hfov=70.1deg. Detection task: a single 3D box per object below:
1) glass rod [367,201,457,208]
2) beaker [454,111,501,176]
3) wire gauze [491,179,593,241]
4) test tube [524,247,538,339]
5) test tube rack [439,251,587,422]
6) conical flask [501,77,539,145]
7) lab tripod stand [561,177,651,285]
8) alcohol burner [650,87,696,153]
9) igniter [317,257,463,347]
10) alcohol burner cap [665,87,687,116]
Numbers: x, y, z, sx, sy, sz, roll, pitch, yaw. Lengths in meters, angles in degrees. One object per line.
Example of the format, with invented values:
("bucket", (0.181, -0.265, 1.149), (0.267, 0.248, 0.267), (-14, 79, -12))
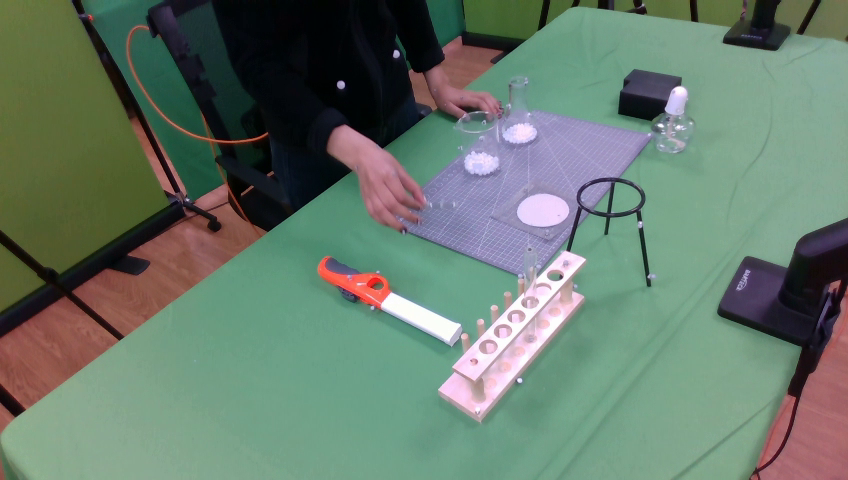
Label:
("glass rod", (-0.024, -0.056, 0.953), (0.198, 0.008, 0.008), (1, 37, 44))
("beaker", (0.101, -0.174, 1.106), (0.084, 0.101, 0.073), (-5, 40, 6))
("wire gauze", (0.198, -0.051, 1.014), (0.125, 0.011, 0.120), (-38, 48, -27))
("test tube", (0.133, 0.070, 0.749), (0.017, 0.151, 0.017), (-5, 38, 4))
("test tube rack", (0.118, 0.111, 0.780), (0.066, 0.085, 0.243), (26, 51, 34))
("conical flask", (0.183, -0.250, 1.163), (0.075, 0.122, 0.075), (-6, 40, 5))
("lab tripod stand", (0.263, -0.014, 0.864), (0.148, 0.132, 0.147), (-7, 38, 6))
("alcohol burner", (0.448, -0.217, 1.084), (0.078, 0.119, 0.077), (-6, 38, 5))
("igniter", (-0.061, 0.086, 0.891), (0.274, 0.025, 0.057), (23, 59, 33))
("alcohol burner cap", (0.445, -0.244, 1.060), (0.034, 0.048, 0.033), (-2, 45, 3))
